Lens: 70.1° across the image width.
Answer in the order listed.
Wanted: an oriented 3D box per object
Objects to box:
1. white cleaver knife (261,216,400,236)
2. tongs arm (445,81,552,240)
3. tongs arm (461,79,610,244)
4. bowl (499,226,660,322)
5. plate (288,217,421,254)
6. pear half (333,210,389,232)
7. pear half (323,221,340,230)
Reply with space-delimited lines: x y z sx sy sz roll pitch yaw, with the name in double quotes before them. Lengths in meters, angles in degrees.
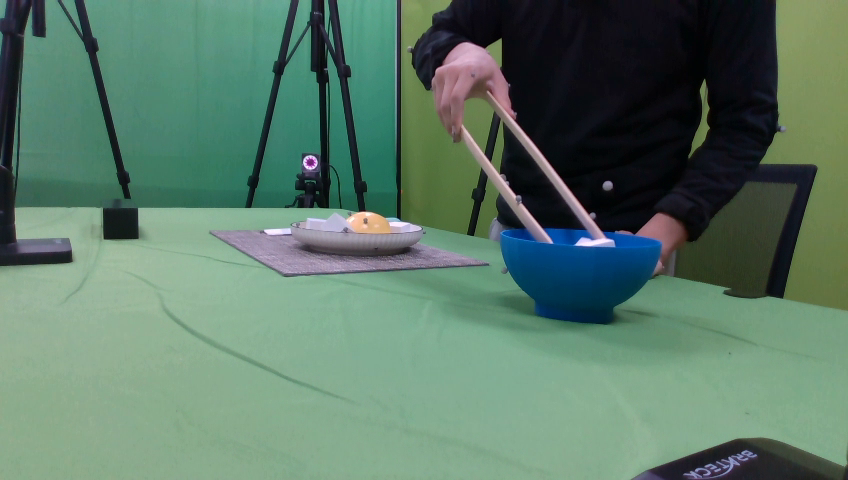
"white cleaver knife" -0.169 -0.021 1.156 0.288 0.021 0.065 -7 20 -33
"tongs arm" 0.094 -0.087 0.693 0.051 0.026 0.383 -27 42 -3
"tongs arm" 0.119 -0.098 0.693 0.028 0.028 0.386 -27 42 2
"bowl" 0.145 0.032 0.583 0.151 0.077 0.151 2 7 0
"plate" -0.109 -0.007 0.956 0.208 0.039 0.207 2 7 0
"pear half" -0.108 -0.017 0.920 0.110 0.056 0.076 -3 5 -20
"pear half" -0.127 -0.019 1.001 0.088 0.031 0.070 8 4 0
